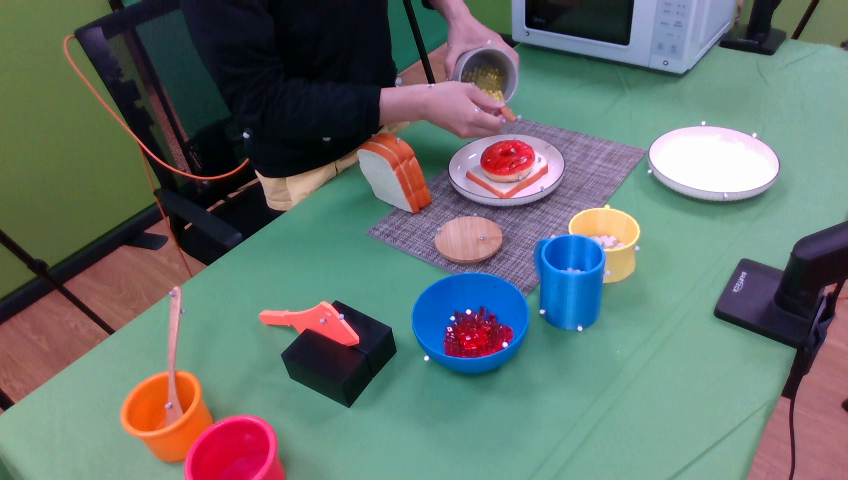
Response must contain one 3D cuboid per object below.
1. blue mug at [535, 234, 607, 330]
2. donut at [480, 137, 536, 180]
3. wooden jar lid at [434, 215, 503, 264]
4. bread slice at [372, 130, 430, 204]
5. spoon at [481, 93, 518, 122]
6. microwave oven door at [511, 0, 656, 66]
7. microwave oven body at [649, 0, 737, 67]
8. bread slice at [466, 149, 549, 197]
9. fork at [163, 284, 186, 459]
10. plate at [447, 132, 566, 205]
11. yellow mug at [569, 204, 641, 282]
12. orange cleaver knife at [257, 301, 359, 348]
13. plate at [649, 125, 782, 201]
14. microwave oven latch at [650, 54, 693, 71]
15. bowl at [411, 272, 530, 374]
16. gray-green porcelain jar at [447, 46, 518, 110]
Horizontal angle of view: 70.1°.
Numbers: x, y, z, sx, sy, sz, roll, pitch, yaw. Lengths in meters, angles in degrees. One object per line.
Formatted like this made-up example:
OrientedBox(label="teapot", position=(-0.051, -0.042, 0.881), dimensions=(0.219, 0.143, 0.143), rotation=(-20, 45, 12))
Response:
OrientedBox(label="blue mug", position=(0.191, 0.048, 0.824), dimensions=(0.082, 0.106, 0.115), rotation=(-26, 44, -20))
OrientedBox(label="donut", position=(0.145, -0.144, 1.056), dimensions=(0.099, 0.048, 0.098), rotation=(-5, 42, 5))
OrientedBox(label="wooden jar lid", position=(0.070, 0.001, 0.956), dimensions=(0.108, 0.021, 0.108), rotation=(-4, 40, 4))
OrientedBox(label="bread slice", position=(-0.043, -0.127, 1.038), dimensions=(0.106, 0.135, 0.018), rotation=(30, 61, 33))
OrientedBox(label="spoon", position=(0.120, -0.209, 0.946), dimensions=(0.041, 0.022, 0.193), rotation=(-10, 20, 0))
OrientedBox(label="microwave oven door", position=(0.351, -0.539, 1.348), dimensions=(0.353, 0.245, 0.039), rotation=(24, 50, 31))
OrientedBox(label="microwave oven body", position=(0.475, -0.602, 1.411), dimensions=(0.438, 0.261, 0.327), rotation=(23, 50, 32))
OrientedBox(label="bread slice", position=(0.156, -0.130, 1.084), dimensions=(0.132, 0.019, 0.104), rotation=(-32, 47, -25))
OrientedBox(label="fork", position=(-0.302, 0.157, 0.733), dimensions=(0.028, 0.019, 0.207), rotation=(-3, 84, 14))
OrientedBox(label="plate", position=(0.146, -0.124, 1.076), dimensions=(0.209, 0.038, 0.208), rotation=(-4, 41, 4))
OrientedBox(label="yellow mug", position=(0.268, -0.005, 0.904), dimensions=(0.099, 0.064, 0.130), rotation=(7, 41, 15))
OrientedBox(label="orange cleaver knife", position=(-0.160, 0.115, 0.813), dimensions=(0.210, 0.077, 0.012), rotation=(-9, 29, 48))
OrientedBox(label="plate", position=(0.493, -0.127, 1.036), dimensions=(0.207, 0.039, 0.206), rotation=(-4, 41, 4))
OrientedBox(label="microwave oven latch", position=(0.531, -0.386, 1.301), dimensions=(0.078, 0.029, 0.030), rotation=(26, 51, 33))
OrientedBox(label="bowl", position=(0.062, 0.120, 0.780), dimensions=(0.151, 0.077, 0.150), rotation=(-4, 40, 4))
OrientedBox(label="gray-green porcelain jar", position=(0.100, -0.289, 1.078), dimensions=(0.106, 0.106, 0.126), rotation=(-12, 17, -6))
